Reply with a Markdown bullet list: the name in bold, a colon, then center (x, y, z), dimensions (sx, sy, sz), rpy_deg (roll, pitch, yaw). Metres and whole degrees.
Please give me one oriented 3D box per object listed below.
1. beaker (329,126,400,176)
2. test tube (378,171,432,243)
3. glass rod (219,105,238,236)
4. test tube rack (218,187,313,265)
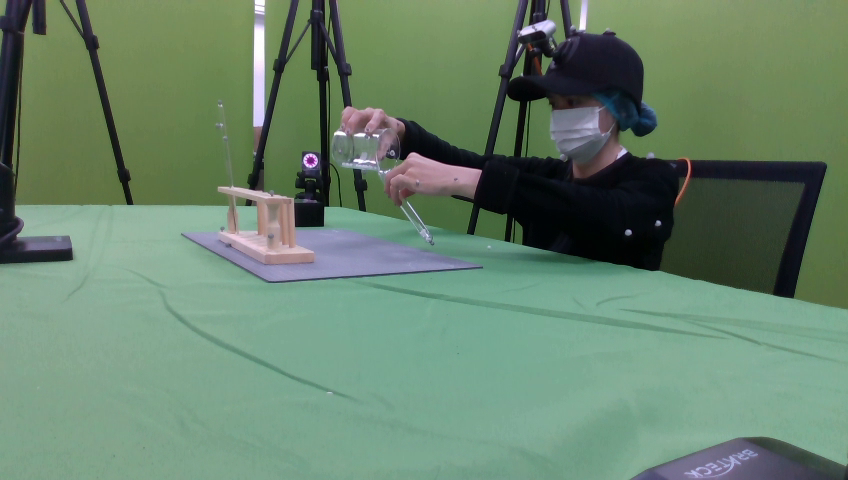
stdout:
- **beaker**: center (-0.103, -0.153, 1.027), dimensions (0.100, 0.084, 0.074), rpy_deg (9, -4, 29)
- **test tube**: center (-0.031, -0.053, 0.978), dimensions (0.017, 0.017, 0.149), rpy_deg (-6, 54, -50)
- **glass rod**: center (-0.294, -0.100, 0.908), dimensions (0.008, 0.199, 0.008), rpy_deg (-3, 12, 1)
- **test tube rack**: center (-0.235, -0.027, 0.872), dimensions (0.067, 0.085, 0.241), rpy_deg (-2, 8, -32)
